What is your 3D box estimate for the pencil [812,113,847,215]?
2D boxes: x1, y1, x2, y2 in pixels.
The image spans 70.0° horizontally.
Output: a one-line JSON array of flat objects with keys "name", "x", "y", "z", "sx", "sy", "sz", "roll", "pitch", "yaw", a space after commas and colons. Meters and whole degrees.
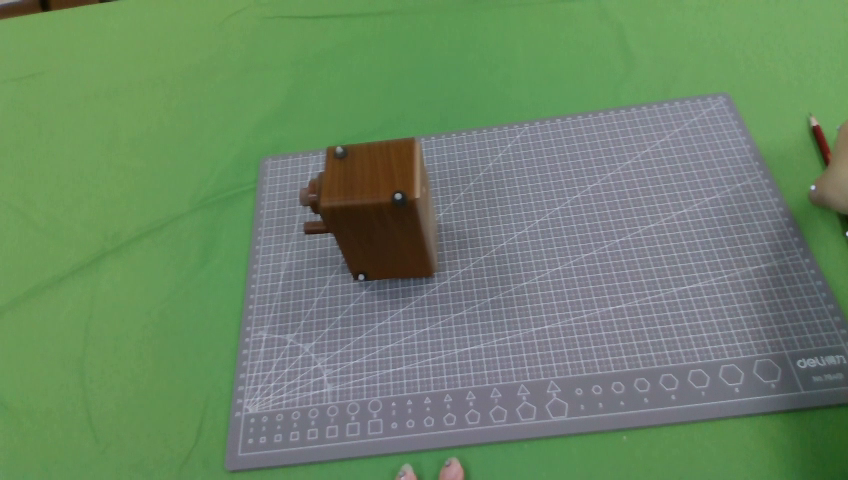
[{"name": "pencil", "x": 0.339, "y": -0.035, "z": 0.486, "sx": 0.012, "sy": 0.012, "sz": 0.192, "roll": 0, "pitch": 55, "yaw": 9}]

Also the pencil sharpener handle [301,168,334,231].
[{"name": "pencil sharpener handle", "x": -0.085, "y": -0.027, "z": 0.464, "sx": 0.030, "sy": 0.068, "sz": 0.035, "roll": -4, "pitch": 60, "yaw": 6}]

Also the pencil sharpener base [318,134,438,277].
[{"name": "pencil sharpener base", "x": -0.033, "y": -0.023, "z": 0.469, "sx": 0.076, "sy": 0.108, "sz": 0.061, "roll": -4, "pitch": 56, "yaw": 6}]
